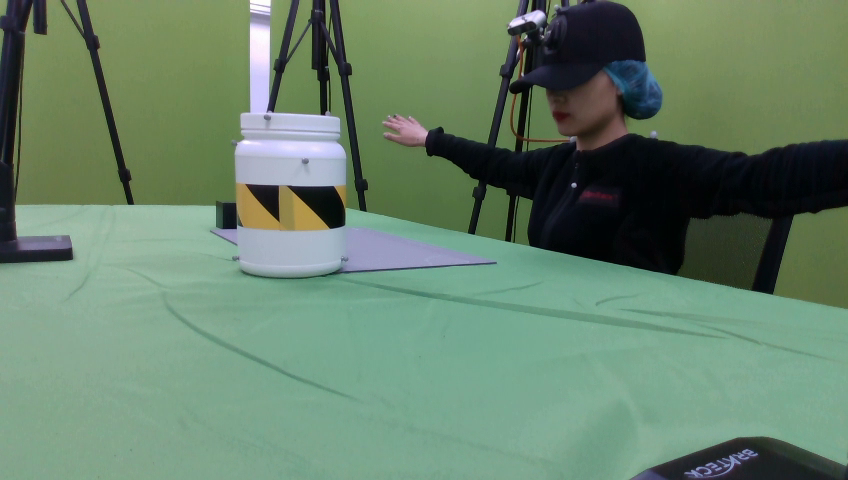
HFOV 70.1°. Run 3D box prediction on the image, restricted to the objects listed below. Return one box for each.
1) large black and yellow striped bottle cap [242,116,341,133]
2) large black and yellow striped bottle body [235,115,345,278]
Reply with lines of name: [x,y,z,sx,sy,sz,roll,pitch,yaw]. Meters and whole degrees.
large black and yellow striped bottle cap: [-0.157,-0.137,0.718,0.115,0.019,0.115,1,10,0]
large black and yellow striped bottle body: [-0.160,-0.055,0.732,0.131,0.184,0.130,2,9,0]
